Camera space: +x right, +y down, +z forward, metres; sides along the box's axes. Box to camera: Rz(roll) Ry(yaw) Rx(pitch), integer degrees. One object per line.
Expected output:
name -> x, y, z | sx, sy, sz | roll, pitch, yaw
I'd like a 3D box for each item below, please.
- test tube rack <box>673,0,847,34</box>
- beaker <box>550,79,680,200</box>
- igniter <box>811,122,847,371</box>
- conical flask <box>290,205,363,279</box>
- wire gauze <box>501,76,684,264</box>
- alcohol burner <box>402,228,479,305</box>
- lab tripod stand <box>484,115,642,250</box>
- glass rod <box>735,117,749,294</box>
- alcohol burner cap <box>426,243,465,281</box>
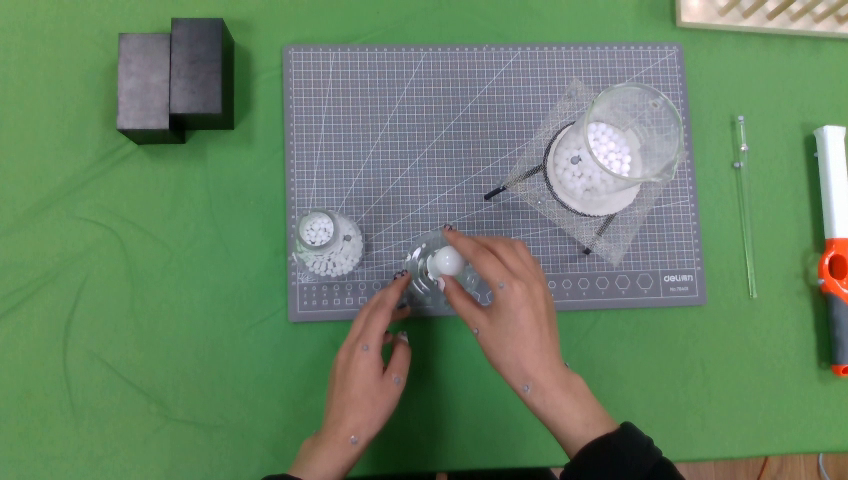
test tube rack -> 0.413, -0.284, 0.673 | 0.243, 0.085, 0.066 | 2, 82, -4
beaker -> 0.148, -0.073, 0.486 | 0.074, 0.100, 0.084 | -41, 88, -7
igniter -> 0.458, 0.005, 0.672 | 0.057, 0.025, 0.275 | 2, 83, -15
conical flask -> -0.098, -0.004, 0.579 | 0.075, 0.122, 0.075 | 1, 83, -4
wire gauze -> 0.148, -0.064, 0.533 | 0.125, 0.011, 0.121 | 35, 85, -1
alcohol burner -> 0.017, 0.024, 0.589 | 0.078, 0.119, 0.077 | 0, 83, -2
lab tripod stand -> 0.141, -0.058, 0.599 | 0.148, 0.131, 0.148 | 0, 85, -3
glass rod -> 0.357, -0.040, 0.679 | 0.008, 0.008, 0.199 | 0, 86, -5
alcohol burner cap -> 0.021, 0.018, 0.545 | 0.034, 0.048, 0.033 | 2, 79, -9
